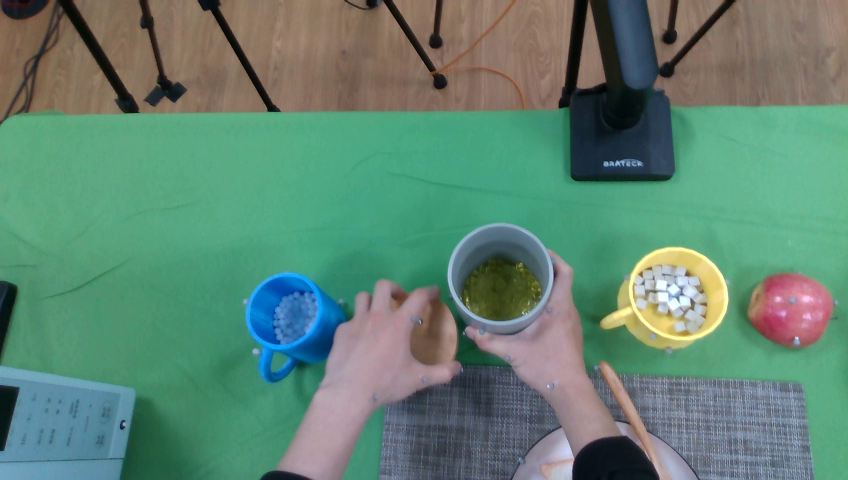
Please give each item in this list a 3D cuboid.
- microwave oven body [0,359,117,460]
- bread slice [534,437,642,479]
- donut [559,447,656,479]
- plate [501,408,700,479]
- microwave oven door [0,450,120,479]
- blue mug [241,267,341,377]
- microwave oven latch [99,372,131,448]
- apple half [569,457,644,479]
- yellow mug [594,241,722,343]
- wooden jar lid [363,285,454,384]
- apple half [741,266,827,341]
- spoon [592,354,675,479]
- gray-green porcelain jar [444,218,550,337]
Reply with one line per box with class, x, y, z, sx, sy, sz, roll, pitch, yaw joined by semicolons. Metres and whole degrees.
microwave oven body;-0.527;0.329;0.562;0.325;0.262;0.439;2;74;7
bread slice;0.183;0.276;0.615;0.107;0.018;0.133;-15;70;3
donut;0.180;0.253;0.591;0.099;0.048;0.098;-2;73;7
plate;0.177;0.277;0.613;0.207;0.039;0.206;-2;73;6
microwave oven door;-0.385;0.372;0.526;0.039;0.245;0.353;1;73;8
blue mug;-0.152;0.098;0.675;0.082;0.106;0.116;22;77;13
microwave oven latch;-0.358;0.193;0.685;0.030;0.030;0.079;7;74;9
apple half;0.173;0.242;0.557;0.081;0.033;0.080;-4;69;12
yellow mug;0.247;0.064;0.660;0.131;0.064;0.099;-21;72;0
wooden jar lid;-0.015;0.103;0.659;0.108;0.021;0.107;-9;69;23
apple half;0.390;0.063;0.650;0.074;0.054;0.080;23;77;16
spoon;0.222;0.204;0.614;0.041;0.022;0.193;-23;80;-4
gray-green porcelain jar;0.078;0.047;0.653;0.106;0.127;0.105;-2;72;6
